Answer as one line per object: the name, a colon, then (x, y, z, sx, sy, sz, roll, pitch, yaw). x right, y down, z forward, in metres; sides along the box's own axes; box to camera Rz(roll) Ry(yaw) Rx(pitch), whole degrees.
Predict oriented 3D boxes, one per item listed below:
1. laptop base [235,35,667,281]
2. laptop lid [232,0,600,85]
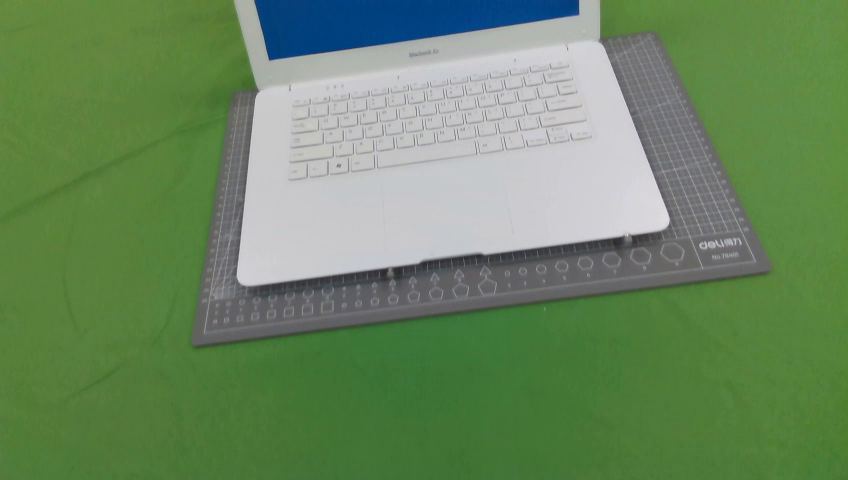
laptop base: (0.011, -0.082, 0.551, 0.354, 0.023, 0.233, -8, 58, 2)
laptop lid: (-0.014, -0.279, 0.563, 0.357, 0.243, 0.013, -9, 28, 2)
